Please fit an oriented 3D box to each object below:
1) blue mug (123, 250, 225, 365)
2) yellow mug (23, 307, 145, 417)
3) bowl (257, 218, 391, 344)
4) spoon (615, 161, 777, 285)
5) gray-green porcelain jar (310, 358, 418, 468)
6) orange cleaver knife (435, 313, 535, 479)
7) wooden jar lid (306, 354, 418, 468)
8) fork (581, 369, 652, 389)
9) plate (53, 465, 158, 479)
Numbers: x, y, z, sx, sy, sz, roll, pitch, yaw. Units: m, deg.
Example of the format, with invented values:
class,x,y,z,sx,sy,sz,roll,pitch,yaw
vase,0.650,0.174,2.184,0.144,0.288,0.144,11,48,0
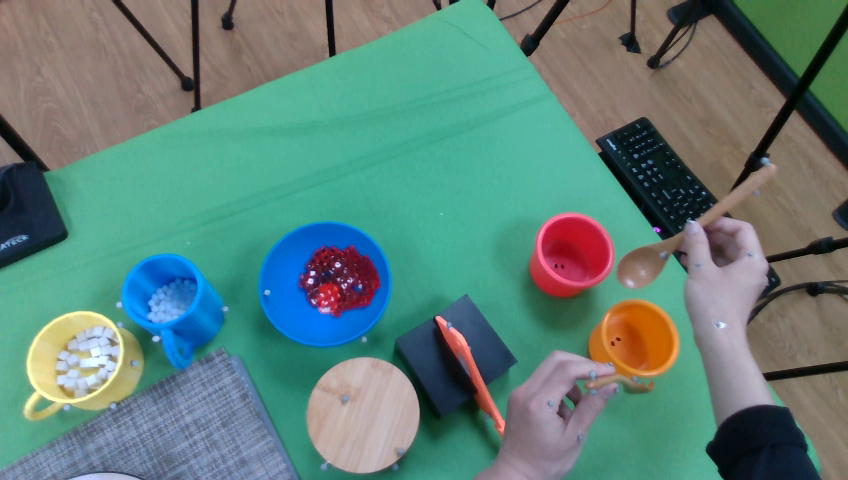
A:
class,x,y,z,sx,sy,sz,roll,pitch,yaw
blue mug,-0.277,0.082,0.683,0.082,0.106,0.115,-8,70,-8
yellow mug,-0.384,0.142,0.671,0.099,0.064,0.130,37,71,10
bowl,-0.115,0.057,0.723,0.151,0.077,0.150,2,69,-5
spoon,0.278,-0.015,0.629,0.022,0.194,0.041,-21,71,-51
gray-green porcelain jar,-0.064,0.190,0.652,0.106,0.127,0.105,2,69,-5
orange cleaver knife,0.067,0.177,0.692,0.012,0.077,0.212,-30,101,-15
wooden jar lid,-0.060,0.166,0.593,0.108,0.021,0.107,3,70,-8
fork,0.184,0.132,0.573,0.028,0.209,0.018,-10,72,30
plate,-0.333,0.337,0.612,0.209,0.038,0.207,2,69,-5
